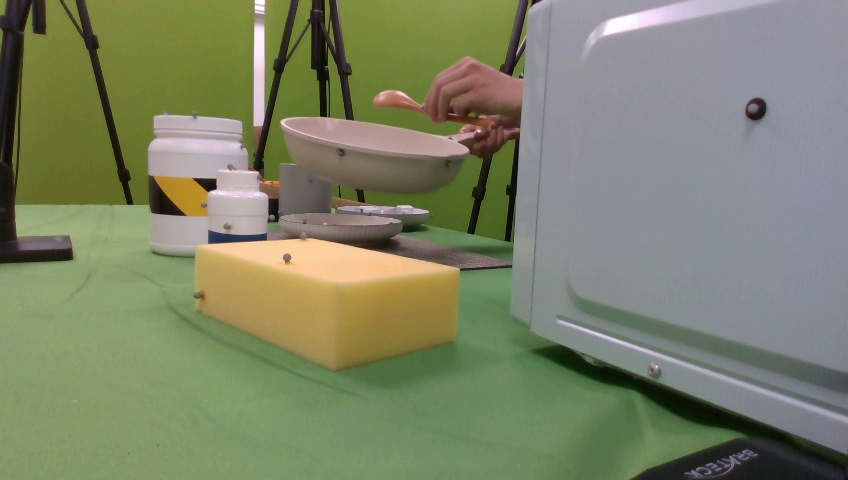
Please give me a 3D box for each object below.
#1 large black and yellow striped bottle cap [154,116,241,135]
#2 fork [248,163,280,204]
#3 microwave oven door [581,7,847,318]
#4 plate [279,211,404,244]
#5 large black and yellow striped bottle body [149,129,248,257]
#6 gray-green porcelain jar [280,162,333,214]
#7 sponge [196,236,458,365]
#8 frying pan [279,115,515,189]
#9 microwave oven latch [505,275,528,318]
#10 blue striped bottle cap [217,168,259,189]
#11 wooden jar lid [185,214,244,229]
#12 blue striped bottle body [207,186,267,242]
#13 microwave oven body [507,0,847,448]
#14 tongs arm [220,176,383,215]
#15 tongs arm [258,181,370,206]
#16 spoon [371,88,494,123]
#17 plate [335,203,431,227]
[{"bbox_3d":[-0.314,-0.158,0.843,0.115,0.019,0.115,3,7,0],"label":"large black and yellow striped bottle cap"},{"bbox_3d":[-0.396,-0.143,1.486,0.028,0.018,0.208,20,-26,45],"label":"fork"},{"bbox_3d":[0.295,-0.067,0.569,0.358,0.243,0.039,-3,8,-31],"label":"microwave oven door"},{"bbox_3d":[-0.139,-0.022,1.021,0.209,0.038,0.209,2,8,0],"label":"plate"},{"bbox_3d":[-0.315,-0.075,0.854,0.131,0.184,0.130,1,7,0],"label":"large black and yellow striped bottle body"},{"bbox_3d":[-0.238,-0.092,1.221,0.106,0.126,0.106,2,7,0],"label":"gray-green porcelain jar"},{"bbox_3d":[-0.087,0.039,0.500,0.206,0.061,0.119,8,9,44],"label":"sponge"},{"bbox_3d":[0.000,-0.164,1.014,0.490,0.103,0.305,-16,29,-37],"label":"frying pan"},{"bbox_3d":[0.100,0.042,0.472,0.079,0.029,0.030,-2,8,-30],"label":"microwave oven latch"},{"bbox_3d":[-0.202,-0.067,0.656,0.044,0.020,0.044,0,10,0],"label":"blue striped bottle cap"},{"bbox_3d":[-0.404,-0.037,1.169,0.108,0.020,0.108,3,7,0],"label":"wooden jar lid"},{"bbox_3d":[-0.204,-0.016,0.663,0.063,0.120,0.063,2,7,0],"label":"blue striped bottle body"},{"bbox_3d":[0.331,-0.042,0.425,0.444,0.260,0.324,-2,8,-31],"label":"microwave oven body"},{"bbox_3d":[-0.285,-0.104,1.445,0.389,0.027,0.028,9,-4,-23],"label":"tongs arm"},{"bbox_3d":[-0.241,-0.095,1.373,0.387,0.026,0.050,9,0,-37],"label":"tongs arm"},{"bbox_3d":[0.008,-0.181,0.826,0.193,0.022,0.041,19,52,24],"label":"spoon"},{"bbox_3d":[-0.089,-0.053,1.309,0.208,0.039,0.207,2,8,0],"label":"plate"}]
